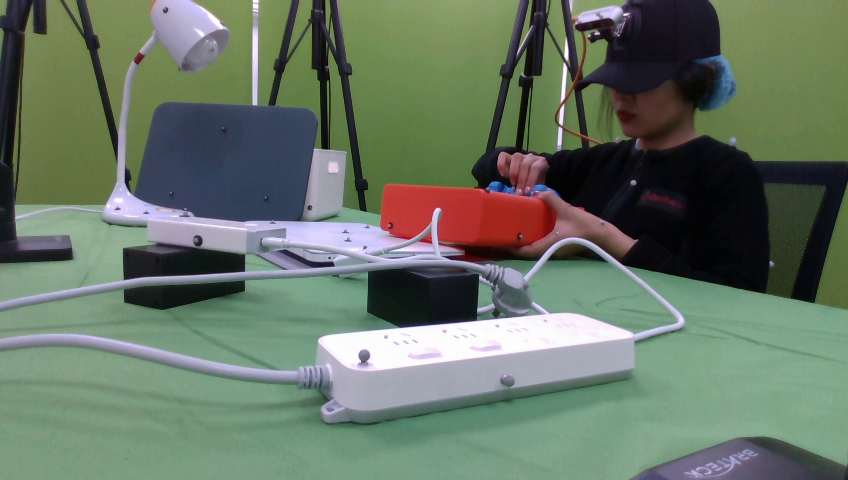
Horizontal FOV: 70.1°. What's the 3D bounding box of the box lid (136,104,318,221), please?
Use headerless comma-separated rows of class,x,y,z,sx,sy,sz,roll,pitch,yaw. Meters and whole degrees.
box lid,-0.411,-0.162,1.266,0.371,0.263,0.015,3,-15,9

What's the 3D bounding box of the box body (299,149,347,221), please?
box body,-0.384,-0.137,1.407,0.364,0.160,0.254,3,8,7

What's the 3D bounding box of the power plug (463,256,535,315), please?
power plug,0.064,0.039,0.530,0.072,0.052,0.035,31,43,7

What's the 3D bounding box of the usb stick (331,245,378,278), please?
usb stick,-0.085,0.026,0.702,0.059,0.027,0.021,-18,19,27

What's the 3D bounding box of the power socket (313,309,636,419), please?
power socket,0.039,0.072,0.384,0.228,0.032,0.072,-2,7,-28

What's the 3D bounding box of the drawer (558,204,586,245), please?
drawer,0.134,-0.037,1.019,0.193,0.073,0.213,7,2,44

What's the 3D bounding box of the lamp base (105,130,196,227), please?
lamp base,-0.532,-0.120,1.153,0.179,0.180,0.161,1,7,8

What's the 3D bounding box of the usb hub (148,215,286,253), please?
usb hub,-0.197,-0.006,0.575,0.125,0.025,0.050,6,6,22

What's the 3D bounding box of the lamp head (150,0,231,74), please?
lamp head,-0.432,-0.374,1.086,0.123,0.112,0.112,42,8,-3

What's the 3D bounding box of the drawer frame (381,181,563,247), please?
drawer frame,0.078,-0.040,0.956,0.200,0.082,0.215,8,4,42

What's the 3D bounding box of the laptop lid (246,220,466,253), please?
laptop lid,-0.123,-0.009,0.945,0.243,0.013,0.355,1,7,-29

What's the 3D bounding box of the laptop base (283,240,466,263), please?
laptop base,-0.125,0.003,0.946,0.237,0.023,0.352,1,6,-31

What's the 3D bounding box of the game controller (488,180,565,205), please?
game controller,0.180,-0.066,1.062,0.154,0.051,0.097,9,-29,43
